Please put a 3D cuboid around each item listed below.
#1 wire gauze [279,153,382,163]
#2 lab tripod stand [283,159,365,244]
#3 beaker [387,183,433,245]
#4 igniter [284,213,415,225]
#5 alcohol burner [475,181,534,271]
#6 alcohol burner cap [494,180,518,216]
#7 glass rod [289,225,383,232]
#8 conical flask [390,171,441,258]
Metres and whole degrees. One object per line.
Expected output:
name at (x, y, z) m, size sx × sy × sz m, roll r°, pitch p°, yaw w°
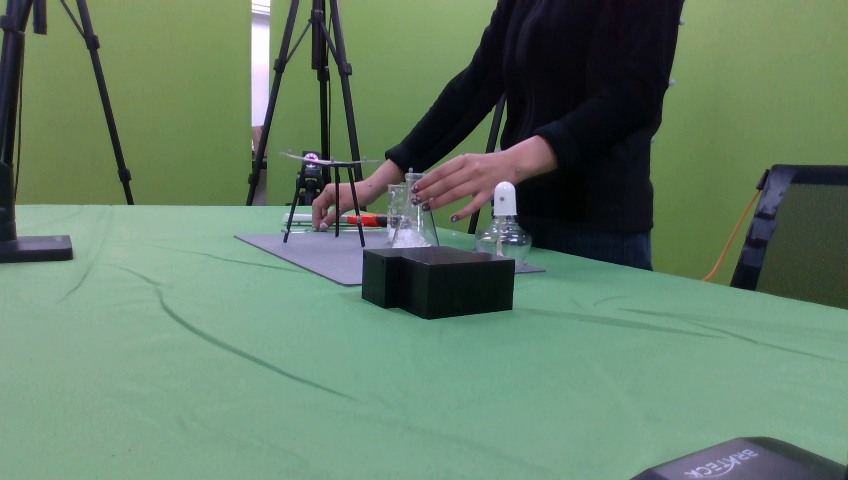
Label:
wire gauze at (-0.149, -0.129, 0.974) m, size 0.124 × 0.011 × 0.122 m, roll 10°, pitch 9°, yaw 41°
lab tripod stand at (-0.151, -0.063, 0.983) m, size 0.148 × 0.131 × 0.148 m, roll 4°, pitch 7°, yaw 0°
beaker at (-0.027, -0.044, 1.012) m, size 0.074 × 0.100 × 0.083 m, roll -2°, pitch 8°, yaw -34°
igniter at (-0.154, -0.045, 1.282) m, size 0.278 × 0.025 × 0.057 m, roll 0°, pitch -3°, yaw -20°
alcohol burner at (0.108, -0.020, 0.803) m, size 0.078 × 0.119 × 0.078 m, roll 3°, pitch 5°, yaw 0°
alcohol burner cap at (0.108, -0.055, 0.800) m, size 0.034 × 0.048 × 0.034 m, roll -2°, pitch 4°, yaw 0°
glass rod at (-0.167, -0.023, 1.175) m, size 0.201 × 0.008 × 0.008 m, roll -3°, pitch 9°, yaw -35°
conical flask at (-0.010, -0.037, 0.872) m, size 0.075 × 0.122 × 0.075 m, roll 2°, pitch 7°, yaw 0°
